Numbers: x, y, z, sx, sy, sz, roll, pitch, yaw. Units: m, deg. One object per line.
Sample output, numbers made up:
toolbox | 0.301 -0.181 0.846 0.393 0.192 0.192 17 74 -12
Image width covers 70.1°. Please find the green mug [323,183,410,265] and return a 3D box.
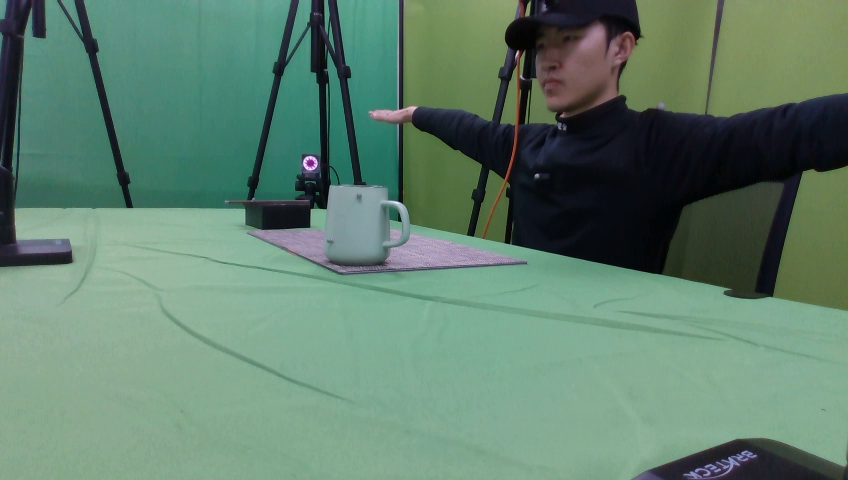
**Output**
green mug | -0.076 -0.022 0.817 0.125 0.105 0.093 5 7 26

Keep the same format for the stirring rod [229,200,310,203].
stirring rod | -0.314 -0.080 1.240 0.177 0.006 0.014 -4 8 -40
